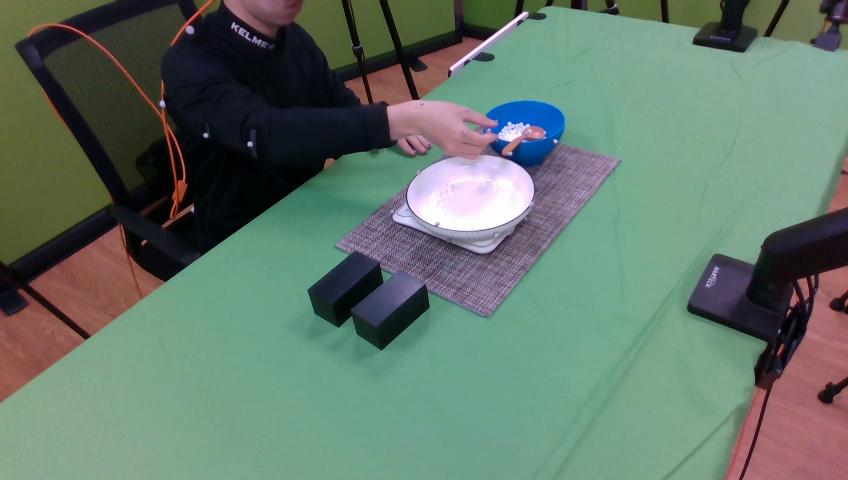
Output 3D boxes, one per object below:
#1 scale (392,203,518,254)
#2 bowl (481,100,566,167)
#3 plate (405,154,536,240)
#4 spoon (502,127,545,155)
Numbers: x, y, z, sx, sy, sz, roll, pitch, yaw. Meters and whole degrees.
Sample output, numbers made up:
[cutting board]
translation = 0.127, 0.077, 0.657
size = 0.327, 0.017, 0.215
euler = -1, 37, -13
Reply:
[scale]
translation = 0.060, -0.051, 1.006
size = 0.199, 0.032, 0.149
euler = 22, 48, 30
[bowl]
translation = 0.183, -0.186, 1.111
size = 0.151, 0.077, 0.150
euler = -4, 40, 4
[plate]
translation = 0.075, -0.067, 0.973
size = 0.209, 0.038, 0.208
euler = -4, 41, 4
[spoon]
translation = 0.169, -0.173, 1.046
size = 0.041, 0.021, 0.194
euler = 21, 25, 20
